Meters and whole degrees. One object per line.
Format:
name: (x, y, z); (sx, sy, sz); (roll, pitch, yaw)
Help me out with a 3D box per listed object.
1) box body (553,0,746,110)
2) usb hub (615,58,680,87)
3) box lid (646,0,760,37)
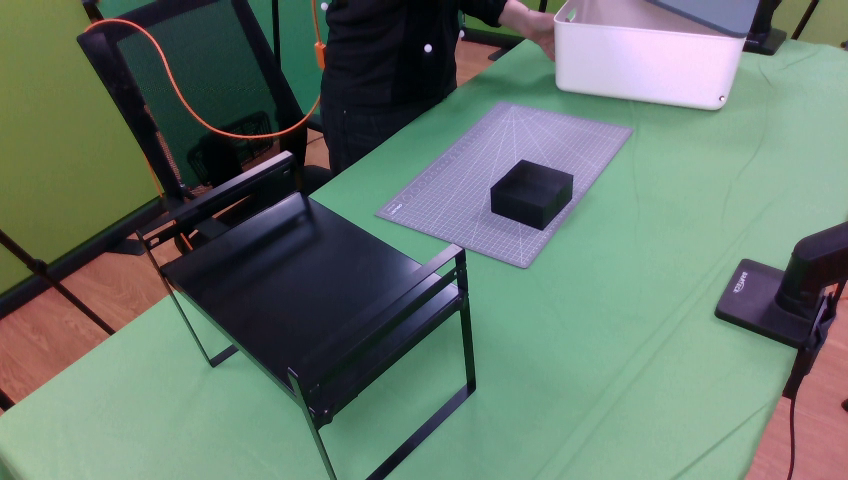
box body: (0.480, -0.417, 1.282); (0.362, 0.161, 0.254); (15, 46, 24)
usb hub: (0.483, -0.363, 1.311); (0.124, 0.025, 0.049); (22, 46, 27)
box lid: (0.474, -0.513, 1.197); (0.370, 0.015, 0.263); (28, 45, 12)
